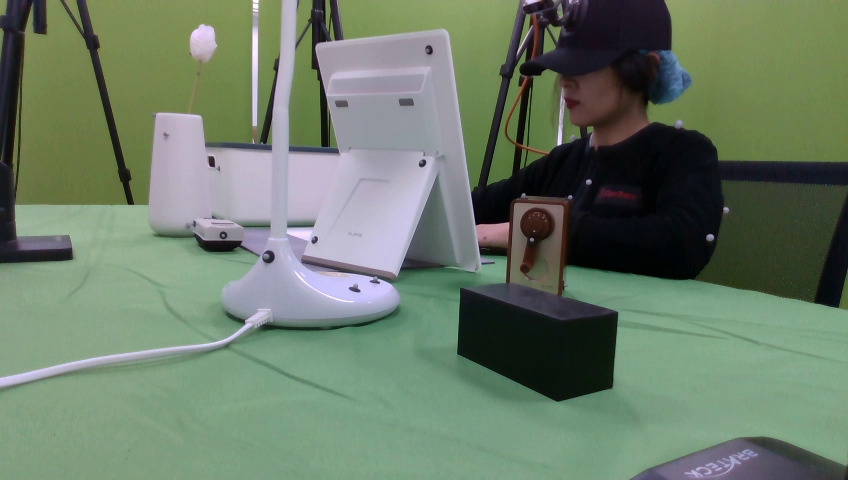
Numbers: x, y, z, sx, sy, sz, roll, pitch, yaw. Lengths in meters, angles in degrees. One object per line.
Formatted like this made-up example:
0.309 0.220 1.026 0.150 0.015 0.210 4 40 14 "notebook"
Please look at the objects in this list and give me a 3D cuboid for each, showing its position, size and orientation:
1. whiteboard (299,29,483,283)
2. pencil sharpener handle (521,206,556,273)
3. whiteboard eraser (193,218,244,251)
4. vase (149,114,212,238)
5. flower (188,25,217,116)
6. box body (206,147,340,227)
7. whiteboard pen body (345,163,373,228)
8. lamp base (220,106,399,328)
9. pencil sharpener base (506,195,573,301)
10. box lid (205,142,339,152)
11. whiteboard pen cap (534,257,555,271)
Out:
-0.074 -0.082 0.742 0.216 0.305 0.144 9 29 38 "whiteboard"
0.111 0.000 0.613 0.036 0.067 0.031 13 10 14 "pencil sharpener handle"
-0.307 -0.009 0.900 0.056 0.042 0.112 -4 10 -28 "whiteboard eraser"
-0.405 -0.106 1.005 0.098 0.200 0.098 2 6 0 "vase"
-0.394 -0.189 1.011 0.044 0.361 0.038 -1 -13 27 "flower"
-0.276 -0.122 1.320 0.366 0.160 0.253 -2 9 -30 "box body"
-0.121 -0.082 1.113 0.017 0.140 0.017 14 -26 7 "whiteboard pen body"
-0.102 -0.023 0.531 0.160 0.180 0.179 4 10 10 "lamp base"
0.127 0.007 0.663 0.061 0.107 0.077 5 8 15 "pencil sharpener base"
-0.270 -0.196 1.311 0.373 0.015 0.262 -2 9 -30 "box lid"
0.166 0.033 0.839 0.018 0.018 0.033 -1 6 -23 "whiteboard pen cap"
